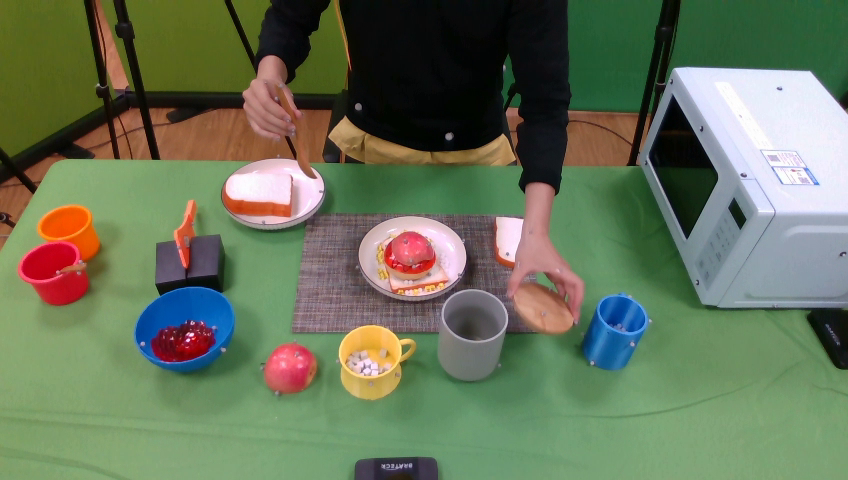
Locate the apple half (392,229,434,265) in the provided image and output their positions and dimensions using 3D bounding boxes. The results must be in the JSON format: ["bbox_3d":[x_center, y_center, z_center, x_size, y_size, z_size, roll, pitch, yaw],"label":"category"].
[{"bbox_3d":[-0.020,0.005,1.083,0.081,0.033,0.081,6,48,-7],"label":"apple half"}]

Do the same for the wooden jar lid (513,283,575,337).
[{"bbox_3d":[0.193,0.116,0.988,0.108,0.021,0.107,17,38,-13],"label":"wooden jar lid"}]

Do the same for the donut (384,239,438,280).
[{"bbox_3d":[-0.025,0.030,1.109,0.099,0.048,0.098,2,46,-2],"label":"donut"}]

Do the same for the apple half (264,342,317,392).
[{"bbox_3d":[-0.214,0.198,0.970,0.074,0.053,0.080,19,48,10],"label":"apple half"}]

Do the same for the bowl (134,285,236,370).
[{"bbox_3d":[-0.377,0.155,0.981,0.151,0.077,0.150,2,46,-2],"label":"bowl"}]

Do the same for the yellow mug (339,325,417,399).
[{"bbox_3d":[-0.072,0.190,0.978,0.131,0.064,0.099,-17,50,-20],"label":"yellow mug"}]

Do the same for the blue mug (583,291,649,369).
[{"bbox_3d":[0.324,0.142,1.023,0.082,0.106,0.116,15,47,11],"label":"blue mug"}]

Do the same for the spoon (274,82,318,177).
[{"bbox_3d":[-0.207,-0.173,0.974,0.021,0.195,0.041,-36,52,-24],"label":"spoon"}]

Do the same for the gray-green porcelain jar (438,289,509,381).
[{"bbox_3d":[0.076,0.158,0.978,0.106,0.127,0.105,2,47,-2],"label":"gray-green porcelain jar"}]

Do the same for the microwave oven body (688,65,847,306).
[{"bbox_3d":[0.669,-0.111,1.176,0.326,0.261,0.439,0,46,-3],"label":"microwave oven body"}]

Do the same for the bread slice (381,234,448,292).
[{"bbox_3d":[-0.027,0.039,1.140,0.107,0.018,0.133,-11,49,-16],"label":"bread slice"}]

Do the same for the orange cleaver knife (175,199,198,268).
[{"bbox_3d":[-0.438,-0.017,1.138,0.012,0.077,0.210,-14,27,-7],"label":"orange cleaver knife"}]

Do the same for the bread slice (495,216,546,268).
[{"bbox_3d":[0.194,0.002,1.204,0.105,0.019,0.131,5,45,2],"label":"bread slice"}]

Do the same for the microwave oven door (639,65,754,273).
[{"bbox_3d":[0.522,-0.147,1.193,0.039,0.245,0.353,0,47,-3],"label":"microwave oven door"}]

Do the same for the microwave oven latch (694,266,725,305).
[{"bbox_3d":[0.523,0.082,1.115,0.030,0.029,0.078,3,46,0],"label":"microwave oven latch"}]

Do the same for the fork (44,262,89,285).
[{"bbox_3d":[-0.598,0.054,1.014,0.207,0.019,0.028,-15,28,45],"label":"fork"}]

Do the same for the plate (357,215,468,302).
[{"bbox_3d":[-0.022,0.037,1.141,0.208,0.039,0.206,2,46,-2],"label":"plate"}]

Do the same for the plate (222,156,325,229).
[{"bbox_3d":[-0.308,-0.095,1.251,0.209,0.038,0.208,2,47,-2],"label":"plate"}]
